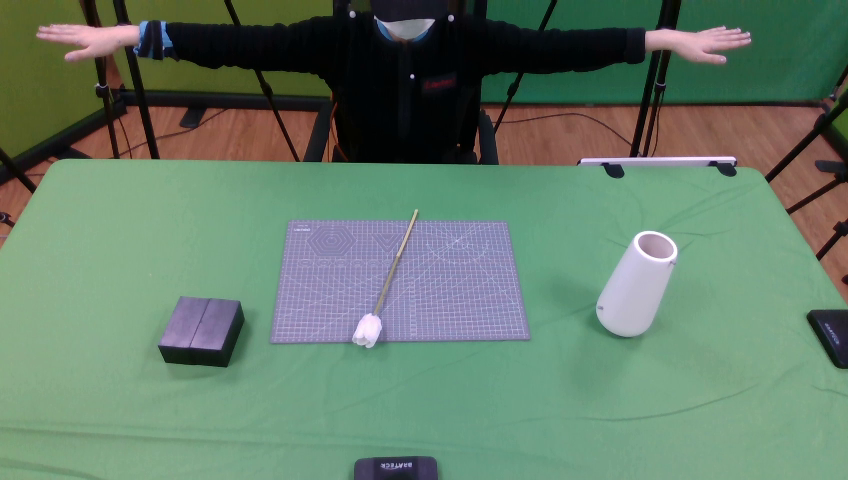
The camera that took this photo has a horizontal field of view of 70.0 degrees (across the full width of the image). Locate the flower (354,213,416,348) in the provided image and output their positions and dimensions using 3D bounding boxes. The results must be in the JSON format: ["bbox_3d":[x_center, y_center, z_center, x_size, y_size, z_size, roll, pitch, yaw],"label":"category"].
[{"bbox_3d":[-0.060,0.058,1.139,0.044,0.038,0.360,-20,31,29],"label":"flower"}]

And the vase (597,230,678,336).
[{"bbox_3d":[0.360,0.077,1.026,0.098,0.201,0.097,1,47,-1],"label":"vase"}]
